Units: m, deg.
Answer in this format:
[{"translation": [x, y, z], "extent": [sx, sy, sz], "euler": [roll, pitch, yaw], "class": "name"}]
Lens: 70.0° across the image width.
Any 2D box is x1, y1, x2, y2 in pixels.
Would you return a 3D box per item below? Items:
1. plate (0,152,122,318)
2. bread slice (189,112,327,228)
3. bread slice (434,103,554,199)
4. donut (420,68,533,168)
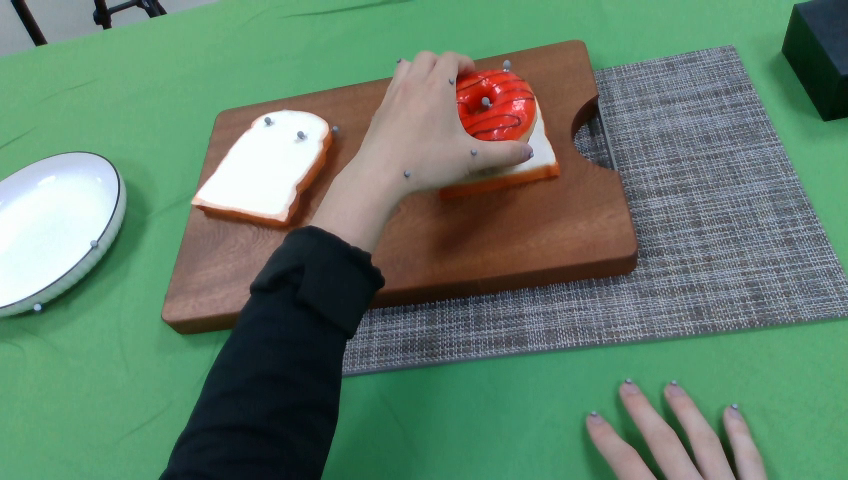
[{"translation": [-0.410, -0.005, 0.637], "extent": [0.209, 0.038, 0.207], "euler": [-8, 53, 11], "class": "plate"}, {"translation": [-0.155, -0.072, 0.590], "extent": [0.106, 0.018, 0.133], "euler": [8, 59, 20], "class": "bread slice"}, {"translation": [0.053, -0.099, 0.552], "extent": [0.105, 0.019, 0.130], "euler": [-11, 54, 6], "class": "bread slice"}, {"translation": [0.043, -0.104, 0.511], "extent": [0.099, 0.049, 0.098], "euler": [-10, 56, 15], "class": "donut"}]
